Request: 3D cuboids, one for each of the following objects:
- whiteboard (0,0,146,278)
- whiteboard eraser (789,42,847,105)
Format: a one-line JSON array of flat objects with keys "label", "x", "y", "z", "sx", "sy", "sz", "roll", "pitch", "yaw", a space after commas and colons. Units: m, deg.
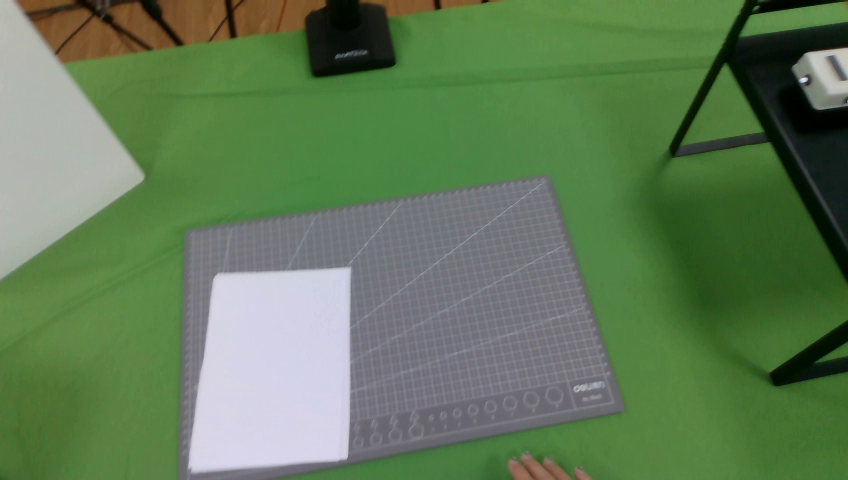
[{"label": "whiteboard", "x": -0.509, "y": -0.142, "z": 0.665, "sx": 0.217, "sy": 0.309, "sz": 0.142, "roll": -41, "pitch": 49, "yaw": -18}, {"label": "whiteboard eraser", "x": 0.407, "y": -0.157, "z": 0.569, "sx": 0.113, "sy": 0.042, "sz": 0.055, "roll": -8, "pitch": 60, "yaw": -4}]
